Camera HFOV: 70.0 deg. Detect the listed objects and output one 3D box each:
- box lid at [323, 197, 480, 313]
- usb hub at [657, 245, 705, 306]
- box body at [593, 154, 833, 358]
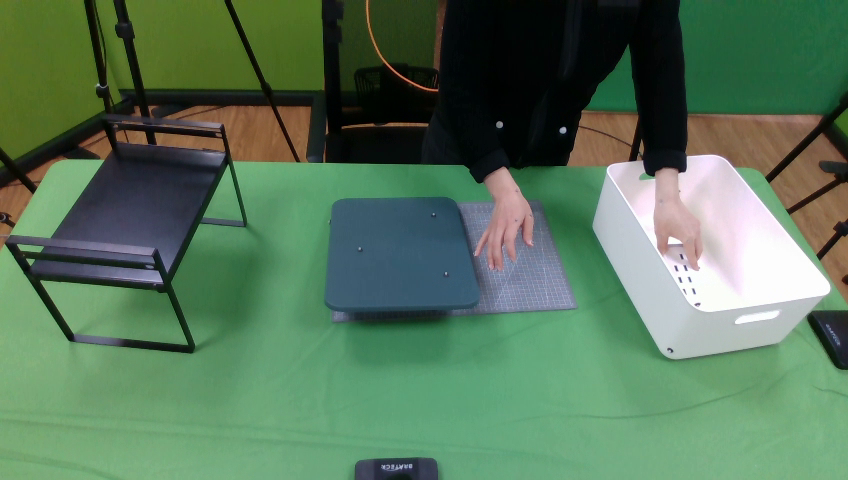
[{"bbox_3d":[-0.048,0.012,1.133,0.263,0.015,0.369,-1,33,-5],"label":"box lid"},{"bbox_3d":[0.480,0.066,1.145,0.049,0.025,0.124,-4,53,-6],"label":"usb hub"},{"bbox_3d":[0.497,0.023,1.112,0.254,0.161,0.361,-7,47,-10],"label":"box body"}]
